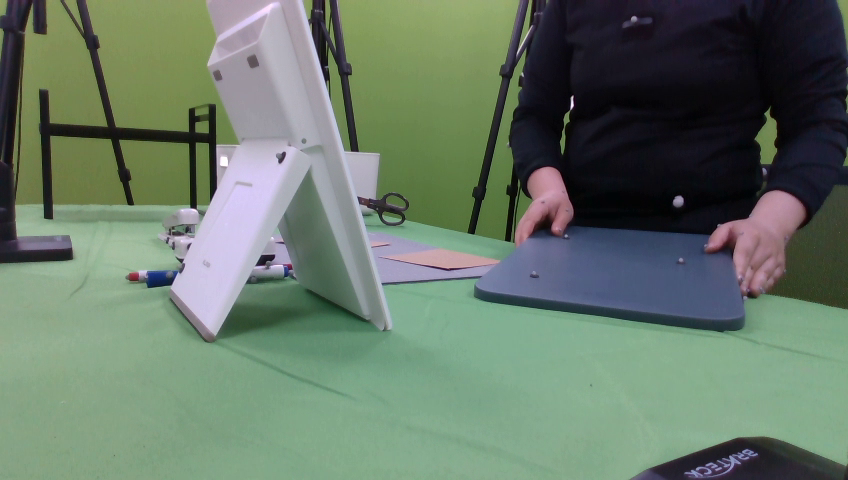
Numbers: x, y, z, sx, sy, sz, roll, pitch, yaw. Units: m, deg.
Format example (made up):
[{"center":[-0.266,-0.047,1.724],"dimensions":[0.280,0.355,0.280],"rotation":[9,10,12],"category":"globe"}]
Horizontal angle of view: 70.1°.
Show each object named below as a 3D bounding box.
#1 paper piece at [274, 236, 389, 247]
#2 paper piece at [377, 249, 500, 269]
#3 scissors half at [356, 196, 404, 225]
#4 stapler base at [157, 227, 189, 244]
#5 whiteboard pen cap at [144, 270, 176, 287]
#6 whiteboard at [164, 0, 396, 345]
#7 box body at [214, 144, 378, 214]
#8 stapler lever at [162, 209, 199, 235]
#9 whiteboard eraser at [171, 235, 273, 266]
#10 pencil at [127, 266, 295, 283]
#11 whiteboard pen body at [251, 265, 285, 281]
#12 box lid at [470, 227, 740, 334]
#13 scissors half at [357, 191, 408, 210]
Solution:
[{"center":[-0.151,0.003,0.978],"dimensions":[0.135,0.008,0.139],"rotation":[13,10,35],"category":"paper piece"},{"center":[0.026,0.026,0.865],"dimensions":[0.134,0.004,0.136],"rotation":[9,9,43],"category":"paper piece"},{"center":[-0.127,-0.072,1.321],"dimensions":[0.175,0.040,0.013],"rotation":[22,6,-5],"category":"scissors half"},{"center":[-0.376,-0.007,0.935],"dimensions":[0.041,0.024,0.130],"rotation":[1,5,-38],"category":"stapler base"},{"center":[-0.271,0.039,0.627],"dimensions":[0.033,0.018,0.018],"rotation":[-3,10,-32],"category":"whiteboard pen cap"},{"center":[-0.173,-0.053,0.511],"dimensions":[0.144,0.305,0.216],"rotation":[-23,19,-26],"category":"whiteboard"},{"center":[-0.328,-0.154,1.543],"dimensions":[0.366,0.160,0.253],"rotation":[-2,9,-32],"category":"box body"},{"center":[-0.376,-0.031,0.933],"dimensions":[0.027,0.040,0.117],"rotation":[0,7,-38],"category":"stapler lever"},{"center":[-0.248,0.014,0.747],"dimensions":[0.113,0.042,0.055],"rotation":[-1,10,-32],"category":"whiteboard eraser"},{"center":[-0.231,0.037,0.691],"dimensions":[0.195,0.012,0.012],"rotation":[-2,9,-34],"category":"pencil"},{"center":[-0.220,0.039,0.656],"dimensions":[0.141,0.017,0.017],"rotation":[-2,9,-31],"category":"whiteboard pen body"},{"center":[0.231,0.033,0.740],"dimensions":[0.262,0.015,0.372],"rotation":[5,14,23],"category":"box lid"},{"center":[-0.122,-0.092,1.318],"dimensions":[0.175,0.040,0.013],"rotation":[5,12,-3],"category":"scissors half"}]
